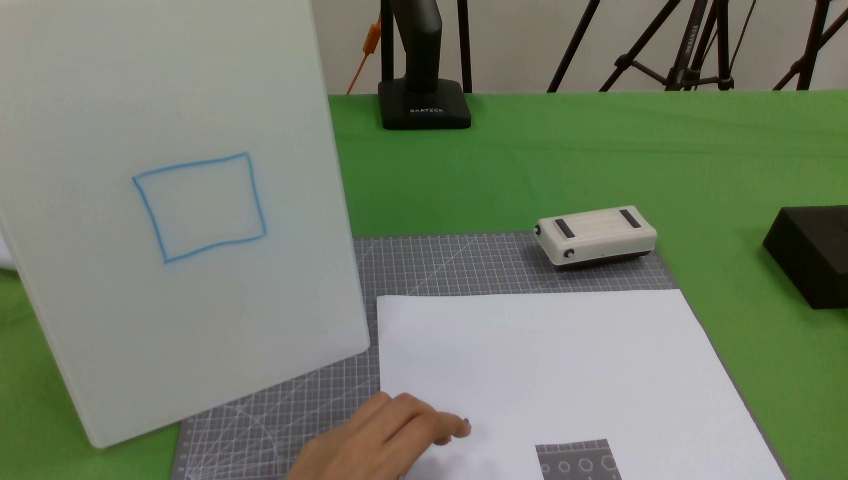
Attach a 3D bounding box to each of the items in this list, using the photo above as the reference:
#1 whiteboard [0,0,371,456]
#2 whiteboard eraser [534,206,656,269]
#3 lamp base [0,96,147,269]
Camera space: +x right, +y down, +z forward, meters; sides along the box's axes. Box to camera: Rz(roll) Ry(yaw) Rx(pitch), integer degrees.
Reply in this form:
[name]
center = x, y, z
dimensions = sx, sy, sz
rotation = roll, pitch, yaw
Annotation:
[whiteboard]
center = -0.186, -0.034, 0.470
dimensions = 0.218, 0.307, 0.142
rotation = -17, 26, -22
[whiteboard eraser]
center = 0.173, -0.001, 0.619
dimensions = 0.113, 0.042, 0.055
rotation = -8, 43, -14
[lamp base]
center = -0.374, -0.090, 0.568
dimensions = 0.178, 0.182, 0.160
rotation = 25, 45, 26
